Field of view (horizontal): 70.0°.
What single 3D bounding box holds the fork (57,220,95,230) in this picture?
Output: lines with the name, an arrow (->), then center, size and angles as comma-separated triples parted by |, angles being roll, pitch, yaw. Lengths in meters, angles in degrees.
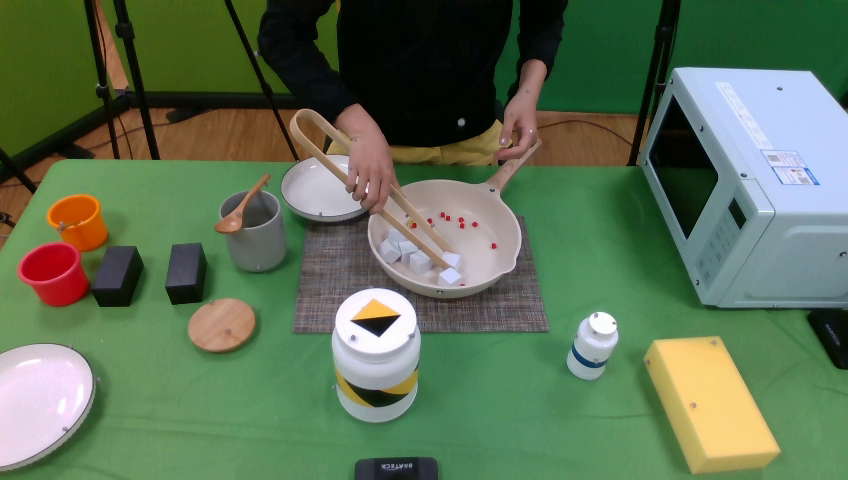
fork -> -0.624, -0.027, 1.086 | 0.028, 0.207, 0.018 | -3, 92, -17

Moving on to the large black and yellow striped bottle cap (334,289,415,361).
large black and yellow striped bottle cap -> -0.069, 0.117, 0.850 | 0.115, 0.019, 0.114 | 2, 45, -2

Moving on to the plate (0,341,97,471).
plate -> -0.599, 0.247, 0.904 | 0.209, 0.038, 0.208 | 2, 47, -2

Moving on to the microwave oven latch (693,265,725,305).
microwave oven latch -> 0.523, 0.081, 1.115 | 0.030, 0.029, 0.078 | 2, 46, -1

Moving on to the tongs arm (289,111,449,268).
tongs arm -> -0.095, -0.081, 1.082 | 0.388, 0.028, 0.028 | 43, 59, -13

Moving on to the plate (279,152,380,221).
plate -> -0.196, -0.107, 1.269 | 0.208, 0.039, 0.206 | 2, 45, -2

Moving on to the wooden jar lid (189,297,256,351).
wooden jar lid -> -0.342, 0.145, 1.033 | 0.108, 0.021, 0.107 | 2, 45, -2

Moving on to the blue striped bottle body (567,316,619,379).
blue striped bottle body -> 0.276, 0.168, 0.984 | 0.063, 0.121, 0.062 | 2, 46, -2

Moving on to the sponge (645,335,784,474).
sponge -> 0.449, 0.253, 0.956 | 0.118, 0.061, 0.205 | -4, 46, -7

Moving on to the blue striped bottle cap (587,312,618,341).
blue striped bottle cap -> 0.279, 0.134, 0.947 | 0.044, 0.021, 0.044 | 2, 45, -2

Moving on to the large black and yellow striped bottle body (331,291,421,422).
large black and yellow striped bottle body -> -0.071, 0.175, 0.911 | 0.131, 0.185, 0.130 | 2, 47, -2

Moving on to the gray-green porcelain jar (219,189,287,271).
gray-green porcelain jar -> -0.310, -0.014, 1.113 | 0.106, 0.127, 0.105 | 2, 46, -2

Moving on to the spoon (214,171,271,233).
spoon -> -0.312, -0.070, 1.070 | 0.041, 0.022, 0.193 | 10, 43, 9

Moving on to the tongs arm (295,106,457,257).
tongs arm -> -0.085, -0.096, 1.095 | 0.385, 0.026, 0.050 | 47, 55, -10

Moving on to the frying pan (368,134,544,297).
frying pan -> 0.104, -0.069, 1.205 | 0.305, 0.103, 0.487 | 32, 61, 23

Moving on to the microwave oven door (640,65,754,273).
microwave oven door -> 0.523, -0.147, 1.193 | 0.039, 0.245, 0.353 | 0, 47, -3

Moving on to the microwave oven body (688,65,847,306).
microwave oven body -> 0.669, -0.111, 1.176 | 0.326, 0.261, 0.439 | 0, 46, -3
